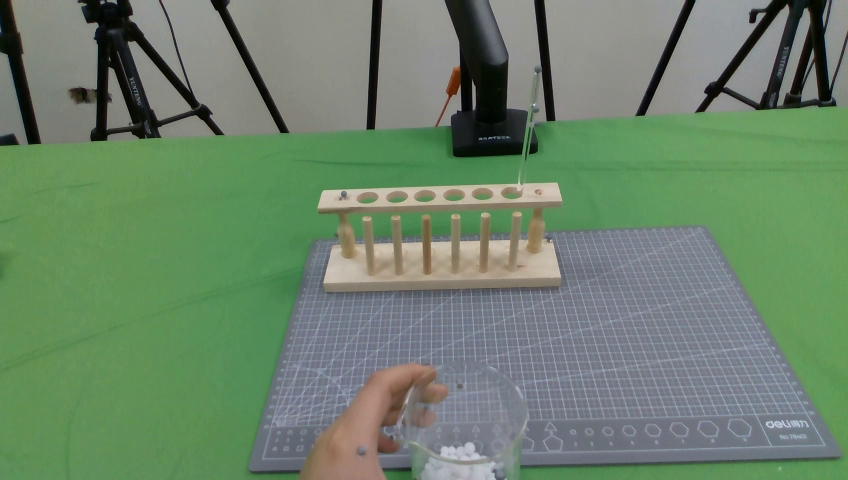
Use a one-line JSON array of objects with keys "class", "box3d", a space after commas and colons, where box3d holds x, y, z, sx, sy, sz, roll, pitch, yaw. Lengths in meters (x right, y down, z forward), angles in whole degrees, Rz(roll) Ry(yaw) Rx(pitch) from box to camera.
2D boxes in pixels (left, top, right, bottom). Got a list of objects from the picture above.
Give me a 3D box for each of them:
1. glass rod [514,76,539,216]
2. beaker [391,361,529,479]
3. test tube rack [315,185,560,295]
[{"class": "glass rod", "box3d": [0.096, -0.063, 0.588, 0.008, 0.201, 0.008, 1, 38, 0]}, {"class": "beaker", "box3d": [0.022, 0.140, 0.388, 0.084, 0.101, 0.073, -15, 39, -15]}, {"class": "test tube rack", "box3d": [0.014, 0.000, 0.621, 0.242, 0.086, 0.066, -2, 37, 3]}]
